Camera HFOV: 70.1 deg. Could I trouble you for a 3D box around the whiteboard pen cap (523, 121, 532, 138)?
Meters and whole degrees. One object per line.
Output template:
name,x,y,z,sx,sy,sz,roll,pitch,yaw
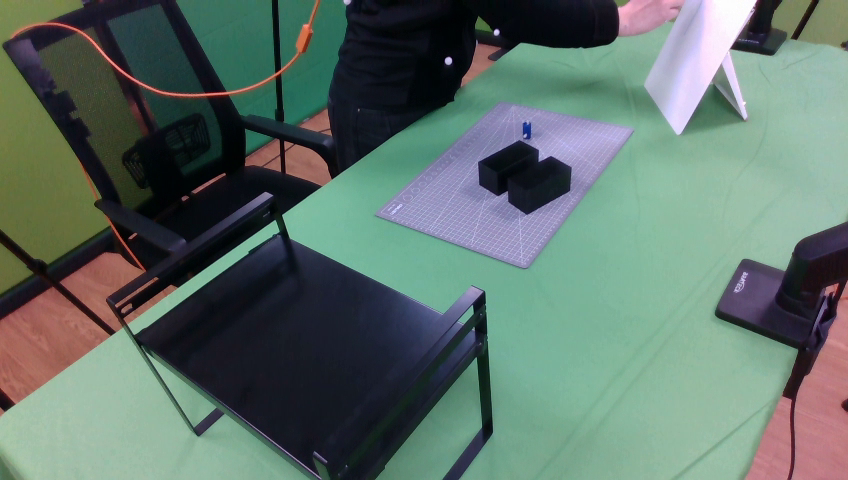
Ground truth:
whiteboard pen cap,0.204,-0.216,1.185,0.018,0.033,0.018,-6,41,6

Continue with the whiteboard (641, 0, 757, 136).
whiteboard,0.576,-0.367,1.147,0.144,0.306,0.216,9,39,-9
